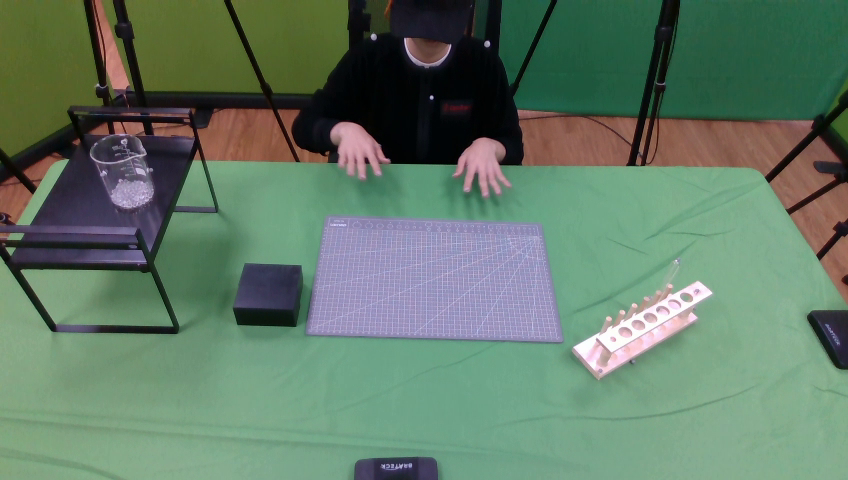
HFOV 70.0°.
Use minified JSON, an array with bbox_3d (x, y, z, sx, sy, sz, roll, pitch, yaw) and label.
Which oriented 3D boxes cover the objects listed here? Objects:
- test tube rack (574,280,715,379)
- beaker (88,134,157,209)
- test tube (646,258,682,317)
[{"bbox_3d":[0.378,0.140,1.038,0.242,0.085,0.066,-22,51,-23],"label":"test tube rack"},{"bbox_3d":[-0.470,-0.105,0.960,0.084,0.101,0.073,4,46,0],"label":"beaker"},{"bbox_3d":[0.407,0.082,1.033,0.017,0.151,0.017,2,47,-2],"label":"test tube"}]
